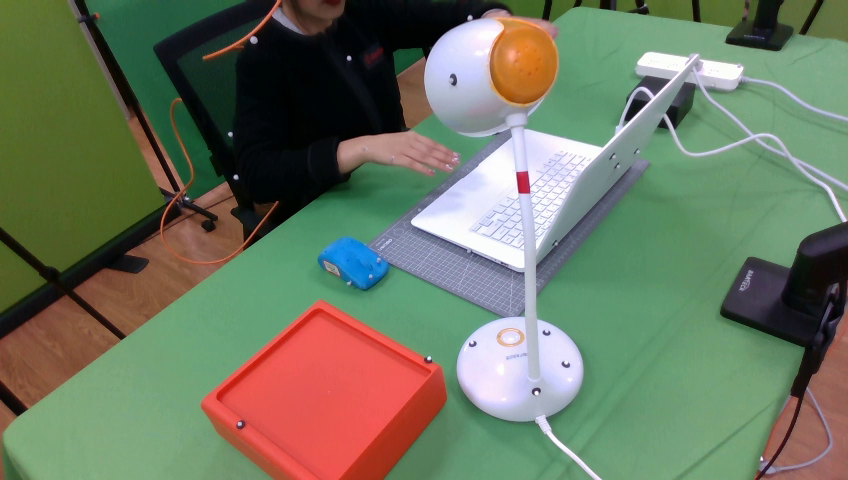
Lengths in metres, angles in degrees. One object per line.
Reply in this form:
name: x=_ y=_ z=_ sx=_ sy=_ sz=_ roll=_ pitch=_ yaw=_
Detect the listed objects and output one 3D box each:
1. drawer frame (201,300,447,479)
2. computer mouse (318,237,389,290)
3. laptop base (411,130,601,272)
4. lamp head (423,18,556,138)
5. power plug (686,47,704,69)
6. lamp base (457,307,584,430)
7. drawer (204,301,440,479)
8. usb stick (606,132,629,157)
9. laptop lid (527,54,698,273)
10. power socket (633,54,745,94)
drawer frame: x=-0.117 y=0.193 z=0.733 sx=0.212 sy=0.083 sz=0.202 roll=23 pitch=48 yaw=32
computer mouse: x=-0.113 y=0.033 z=0.959 sx=0.116 sy=0.041 sz=0.063 roll=27 pitch=50 yaw=31
laptop base: x=0.175 y=-0.083 z=1.054 sx=0.233 sy=0.023 sz=0.355 roll=21 pitch=49 yaw=36
lamp head: x=0.068 y=-0.151 z=0.563 sx=0.113 sy=0.113 sz=0.122 roll=-21 pitch=18 yaw=-14
power plug: x=0.564 y=-0.384 z=1.248 sx=0.035 sy=0.073 sz=0.052 roll=22 pitch=71 yaw=15
lamp base: x=0.115 y=0.108 z=0.713 sx=0.161 sy=0.181 sz=0.178 roll=-17 pitch=43 yaw=-8
drawer: x=-0.119 y=0.193 z=0.735 sx=0.210 sy=0.073 sz=0.195 roll=23 pitch=49 yaw=32
usb stick: x=0.353 y=-0.174 z=1.109 sx=0.021 sy=0.027 sz=0.059 roll=23 pitch=49 yaw=32
laptop lid: x=0.281 y=-0.113 z=0.896 sx=0.013 sy=0.242 sz=0.358 roll=38 pitch=55 yaw=17
power socket: x=0.563 y=-0.358 z=1.295 sx=0.225 sy=0.033 sz=0.072 roll=21 pitch=50 yaw=30
